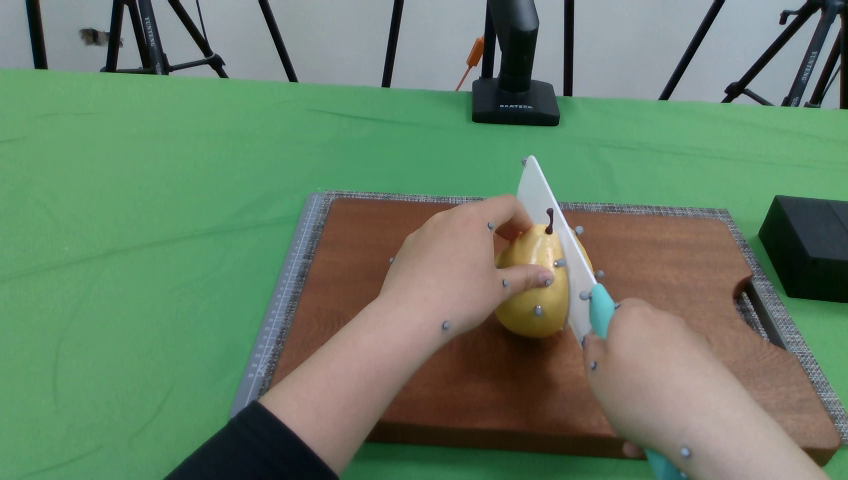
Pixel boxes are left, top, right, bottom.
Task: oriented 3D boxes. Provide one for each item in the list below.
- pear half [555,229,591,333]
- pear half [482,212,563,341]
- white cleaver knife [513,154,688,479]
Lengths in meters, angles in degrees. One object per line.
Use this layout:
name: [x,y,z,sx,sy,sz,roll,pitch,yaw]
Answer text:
pear half: [0.112,0.029,0.475,0.031,0.088,0.069,-5,30,-18]
pear half: [0.074,0.025,0.461,0.056,0.111,0.075,-8,35,-13]
white cleaver knife: [0.111,0.043,0.431,0.021,0.066,0.283,-6,46,-7]
